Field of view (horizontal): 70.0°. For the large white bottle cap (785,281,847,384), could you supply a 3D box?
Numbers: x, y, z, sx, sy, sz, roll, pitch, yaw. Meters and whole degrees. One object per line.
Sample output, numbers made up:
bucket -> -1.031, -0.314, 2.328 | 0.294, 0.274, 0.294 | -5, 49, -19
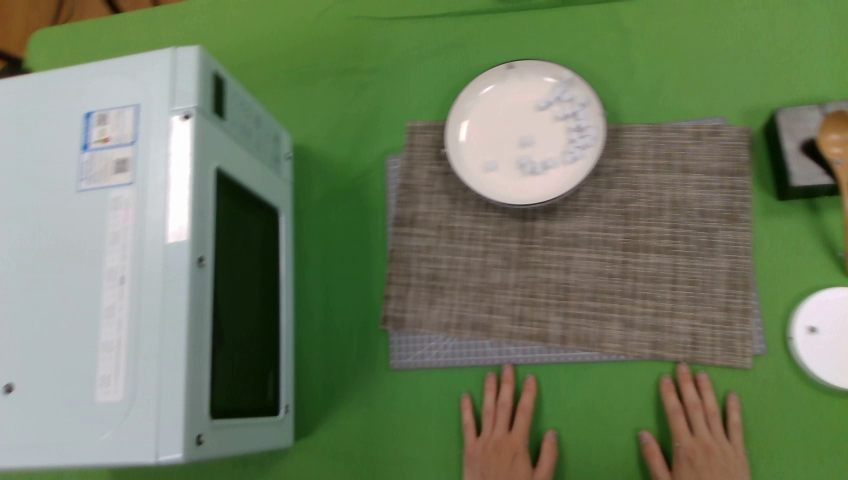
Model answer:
large white bottle cap -> 0.471, 0.104, 0.680 | 0.114, 0.018, 0.114 | -3, 76, 10

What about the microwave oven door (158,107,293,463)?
microwave oven door -> -0.217, 0.060, 0.700 | 0.039, 0.245, 0.354 | -7, 75, 11

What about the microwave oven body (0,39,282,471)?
microwave oven body -> -0.361, 0.036, 0.741 | 0.325, 0.262, 0.439 | -6, 76, 10

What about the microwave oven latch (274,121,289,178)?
microwave oven latch -> -0.206, -0.126, 0.850 | 0.030, 0.030, 0.078 | -6, 76, 10

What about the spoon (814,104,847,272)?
spoon -> 0.470, -0.055, 0.681 | 0.041, 0.021, 0.194 | -11, 97, 7

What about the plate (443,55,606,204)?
plate -> 0.131, -0.142, 0.798 | 0.209, 0.038, 0.208 | -3, 74, 11

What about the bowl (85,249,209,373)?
bowl -> -0.327, 0.092, 0.752 | 0.151, 0.077, 0.150 | -3, 75, 10
